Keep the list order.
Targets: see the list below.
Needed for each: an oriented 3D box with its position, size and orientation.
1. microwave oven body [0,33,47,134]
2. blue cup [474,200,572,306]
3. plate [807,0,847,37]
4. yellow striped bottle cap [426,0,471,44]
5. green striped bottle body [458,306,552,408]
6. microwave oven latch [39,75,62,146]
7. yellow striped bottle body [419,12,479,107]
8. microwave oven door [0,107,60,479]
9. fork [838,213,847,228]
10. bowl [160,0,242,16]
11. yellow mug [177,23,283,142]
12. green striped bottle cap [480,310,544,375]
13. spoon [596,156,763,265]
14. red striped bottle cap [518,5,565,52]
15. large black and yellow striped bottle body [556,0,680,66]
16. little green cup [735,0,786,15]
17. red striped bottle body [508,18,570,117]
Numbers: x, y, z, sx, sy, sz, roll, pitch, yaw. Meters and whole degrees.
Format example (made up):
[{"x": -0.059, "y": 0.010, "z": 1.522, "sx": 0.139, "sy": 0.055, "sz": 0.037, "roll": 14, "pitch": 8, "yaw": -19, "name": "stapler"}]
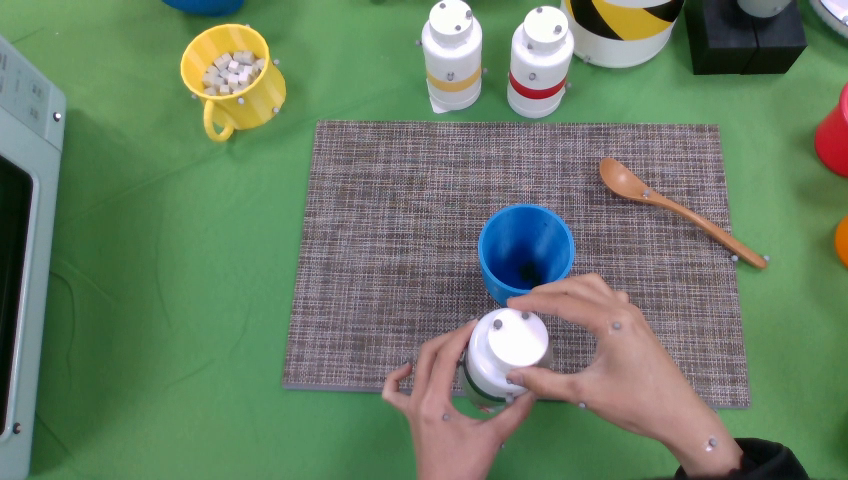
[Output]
[{"x": -0.568, "y": 0.005, "z": 0.544, "sx": 0.326, "sy": 0.262, "sz": 0.438, "roll": -8, "pitch": 71, "yaw": 1, "name": "microwave oven body"}, {"x": 0.089, "y": 0.021, "z": 0.575, "sx": 0.092, "sy": 0.101, "sz": 0.092, "roll": -1, "pitch": 70, "yaw": 2, "name": "blue cup"}, {"x": 0.534, "y": -0.301, "z": 0.695, "sx": 0.209, "sy": 0.038, "sz": 0.207, "roll": -1, "pitch": 71, "yaw": 4, "name": "plate"}, {"x": 0.024, "y": -0.219, "z": 0.604, "sx": 0.044, "sy": 0.019, "sz": 0.044, "roll": -1, "pitch": 72, "yaw": 4, "name": "yellow striped bottle cap"}, {"x": 0.063, "y": 0.093, "z": 0.481, "sx": 0.063, "sy": 0.120, "sz": 0.062, "roll": 1, "pitch": 65, "yaw": -3, "name": "green striped bottle body"}, {"x": -0.434, "y": -0.146, "z": 0.690, "sx": 0.030, "sy": 0.030, "sz": 0.078, "roll": -6, "pitch": 71, "yaw": 2, "name": "microwave oven latch"}, {"x": 0.028, "y": -0.201, "z": 0.652, "sx": 0.063, "sy": 0.121, "sz": 0.062, "roll": -2, "pitch": 70, "yaw": 5, "name": "yellow striped bottle body"}, {"x": -0.419, "y": 0.024, "z": 0.521, "sx": 0.039, "sy": 0.245, "sz": 0.353, "roll": -8, "pitch": 70, "yaw": 2, "name": "microwave oven door"}, {"x": 0.468, "y": 0.010, "z": 0.531, "sx": 0.028, "sy": 0.019, "sz": 0.205, "roll": -37, "pitch": 28, "yaw": -8, "name": "fork"}, {"x": -0.269, "y": -0.331, "z": 0.742, "sx": 0.151, "sy": 0.077, "sz": 0.150, "roll": -1, "pitch": 71, "yaw": 3, "name": "bowl"}, {"x": -0.223, "y": -0.173, "z": 0.689, "sx": 0.100, "sy": 0.064, "sz": 0.130, "roll": 11, "pitch": 72, "yaw": 7, "name": "yellow mug"}, {"x": 0.063, "y": 0.073, "z": 0.431, "sx": 0.044, "sy": 0.020, "sz": 0.044, "roll": 7, "pitch": 55, "yaw": -9, "name": "green striped bottle cap"}, {"x": 0.261, "y": -0.030, "z": 0.623, "sx": 0.193, "sy": 0.022, "sz": 0.041, "roll": 32, "pitch": 51, "yaw": 14, "name": "spoon"}, {"x": 0.115, "y": -0.207, "z": 0.593, "sx": 0.044, "sy": 0.018, "sz": 0.044, "roll": 0, "pitch": 69, "yaw": 0, "name": "red striped bottle cap"}, {"x": 0.213, "y": -0.289, "z": 0.636, "sx": 0.131, "sy": 0.185, "sz": 0.130, "roll": -1, "pitch": 70, "yaw": 4, "name": "large black and yellow striped bottle body"}, {"x": 0.363, "y": -0.273, "z": 0.644, "sx": 0.061, "sy": 0.039, "sz": 0.061, "roll": -1, "pitch": 69, "yaw": 2, "name": "little green cup"}, {"x": 0.121, "y": -0.188, "z": 0.642, "sx": 0.063, "sy": 0.120, "sz": 0.062, "roll": -3, "pitch": 68, "yaw": 8, "name": "red striped bottle body"}]
